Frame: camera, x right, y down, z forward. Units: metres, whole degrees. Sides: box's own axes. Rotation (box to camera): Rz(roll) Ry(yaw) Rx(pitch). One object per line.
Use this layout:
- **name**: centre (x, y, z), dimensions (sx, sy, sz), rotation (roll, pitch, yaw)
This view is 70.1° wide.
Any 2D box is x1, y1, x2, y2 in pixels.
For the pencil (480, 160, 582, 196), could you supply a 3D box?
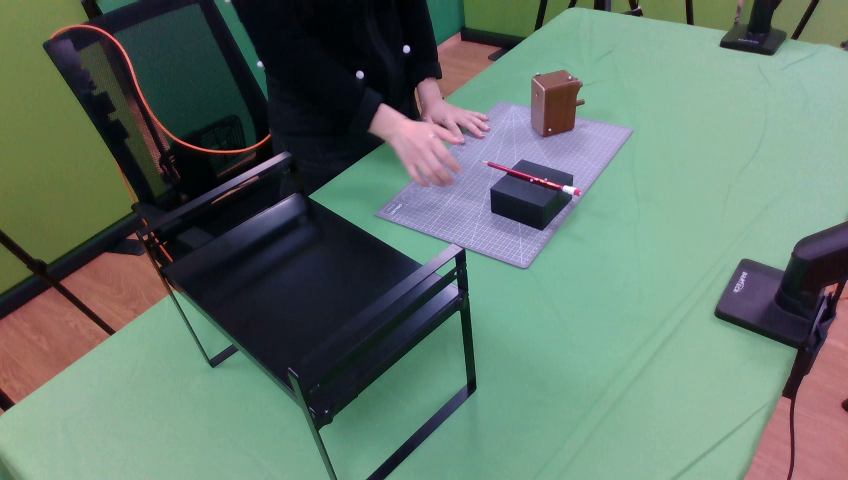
- **pencil**: centre (0.173, -0.106, 1.003), dimensions (0.192, 0.012, 0.012), rotation (23, 49, 31)

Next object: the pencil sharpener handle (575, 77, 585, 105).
- **pencil sharpener handle**: centre (0.303, -0.292, 1.181), dimensions (0.031, 0.068, 0.035), rotation (-15, 49, -9)

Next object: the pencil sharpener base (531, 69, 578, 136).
- **pencil sharpener base**: centre (0.256, -0.268, 1.179), dimensions (0.077, 0.107, 0.061), rotation (-15, 41, -9)
